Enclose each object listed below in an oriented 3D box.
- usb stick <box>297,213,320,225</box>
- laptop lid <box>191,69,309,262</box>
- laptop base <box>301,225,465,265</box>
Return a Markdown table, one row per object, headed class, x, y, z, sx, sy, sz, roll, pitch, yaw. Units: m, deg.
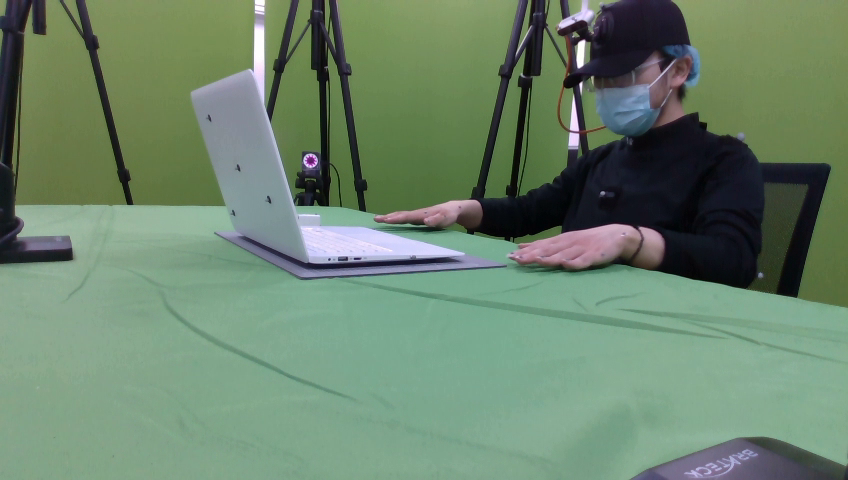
| class | x | y | z | sx | sy | sz | roll | pitch | yaw |
| --- | --- | --- | --- | --- | --- | --- | --- | --- | --- |
| usb stick | -0.242 | -0.040 | 1.221 | 0.059 | 0.027 | 0.021 | -5 | 11 | -28 |
| laptop lid | -0.254 | -0.103 | 0.842 | 0.013 | 0.242 | 0.355 | -22 | 20 | -27 |
| laptop base | -0.128 | 0.005 | 0.937 | 0.237 | 0.023 | 0.352 | 2 | 7 | -32 |
